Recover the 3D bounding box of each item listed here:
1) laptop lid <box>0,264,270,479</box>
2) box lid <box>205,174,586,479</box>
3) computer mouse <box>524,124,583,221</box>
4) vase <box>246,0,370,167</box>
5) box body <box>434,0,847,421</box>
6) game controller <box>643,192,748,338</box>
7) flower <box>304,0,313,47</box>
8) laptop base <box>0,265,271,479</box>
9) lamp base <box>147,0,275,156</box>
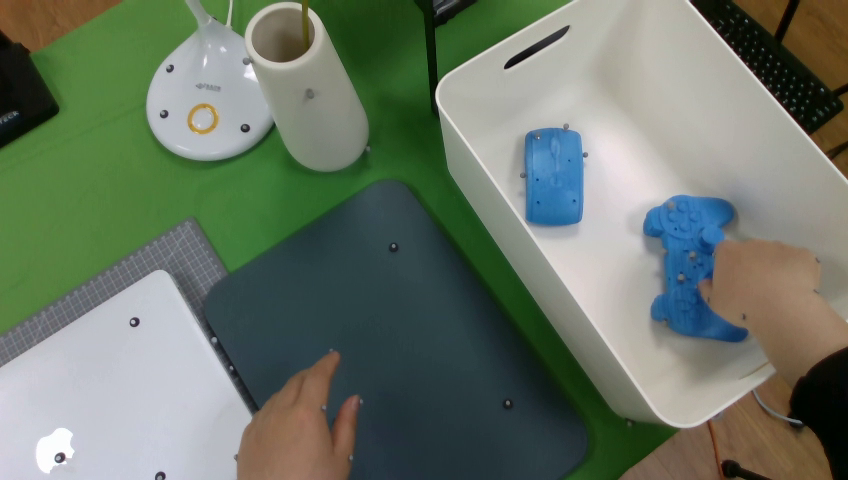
[{"bbox_3d":[-0.358,0.209,0.602,0.357,0.013,0.240,-32,77,-7],"label":"laptop lid"},{"bbox_3d":[-0.038,0.126,0.630,0.263,0.015,0.369,-34,75,-9],"label":"box lid"},{"bbox_3d":[0.142,-0.077,0.663,0.063,0.041,0.116,3,69,6],"label":"computer mouse"},{"bbox_3d":[-0.116,-0.152,0.618,0.098,0.201,0.097,-1,72,4],"label":"vase"},{"bbox_3d":[0.206,-0.039,0.591,0.254,0.161,0.361,-31,75,-6],"label":"box body"},{"bbox_3d":[0.280,0.021,0.623,0.097,0.052,0.154,0,73,7],"label":"game controller"},{"bbox_3d":[-0.103,-0.187,0.543,0.038,0.364,0.043,-19,63,-21],"label":"flower"},{"bbox_3d":[-0.359,0.210,0.614,0.354,0.023,0.234,-34,79,-8],"label":"laptop base"},{"bbox_3d":[-0.253,-0.208,0.650,0.160,0.181,0.178,-1,70,2],"label":"lamp base"}]
